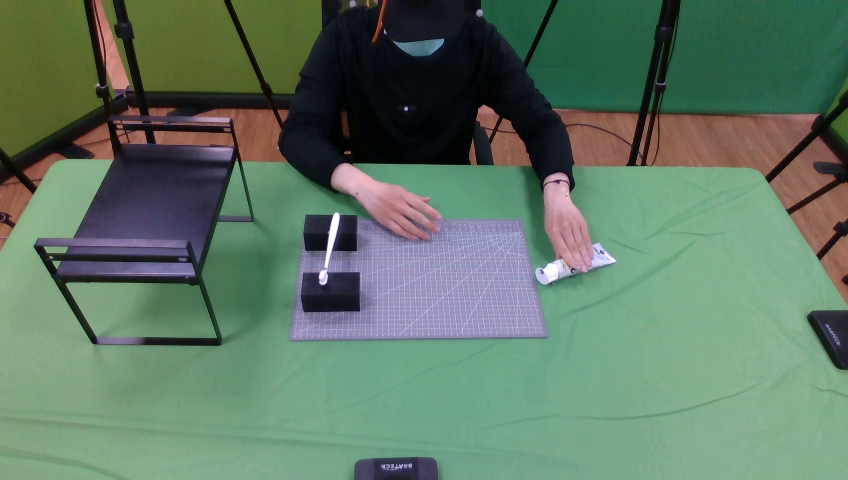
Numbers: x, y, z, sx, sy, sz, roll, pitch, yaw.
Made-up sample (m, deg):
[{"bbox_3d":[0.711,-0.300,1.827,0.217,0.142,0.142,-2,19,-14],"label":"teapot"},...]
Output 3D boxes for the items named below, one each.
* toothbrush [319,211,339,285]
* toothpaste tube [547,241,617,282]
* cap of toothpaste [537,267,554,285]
[{"bbox_3d":[-0.172,0.009,1.103,0.014,0.017,0.180,-8,44,11],"label":"toothbrush"},{"bbox_3d":[0.298,0.044,1.169,0.165,0.034,0.055,-19,60,-25],"label":"toothpaste tube"},{"bbox_3d":[0.228,0.065,1.135,0.011,0.037,0.037,-27,54,-26],"label":"cap of toothpaste"}]
